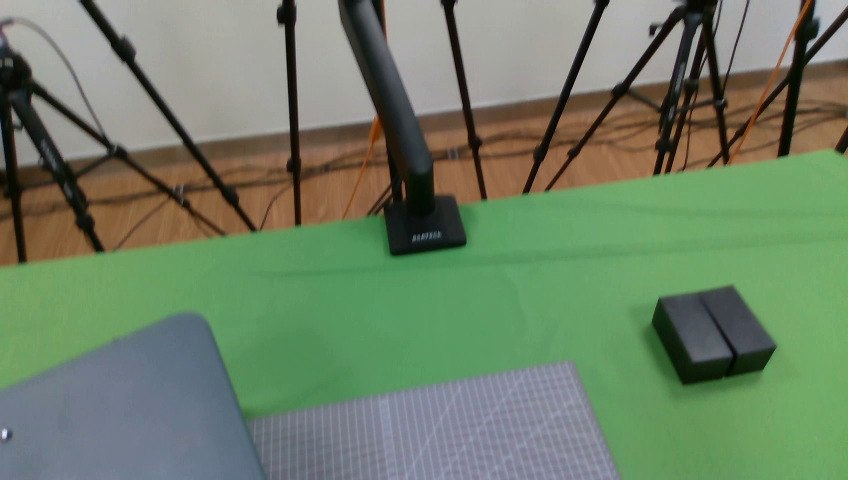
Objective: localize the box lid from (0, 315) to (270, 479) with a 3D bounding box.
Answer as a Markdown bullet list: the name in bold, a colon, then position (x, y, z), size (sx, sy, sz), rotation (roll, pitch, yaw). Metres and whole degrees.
- **box lid**: position (-0.335, 0.221, 0.523), size (0.372, 0.015, 0.260), rotation (-24, 48, -18)

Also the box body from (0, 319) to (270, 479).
- **box body**: position (-0.332, 0.274, 0.575), size (0.364, 0.162, 0.251), rotation (-24, 48, -18)
